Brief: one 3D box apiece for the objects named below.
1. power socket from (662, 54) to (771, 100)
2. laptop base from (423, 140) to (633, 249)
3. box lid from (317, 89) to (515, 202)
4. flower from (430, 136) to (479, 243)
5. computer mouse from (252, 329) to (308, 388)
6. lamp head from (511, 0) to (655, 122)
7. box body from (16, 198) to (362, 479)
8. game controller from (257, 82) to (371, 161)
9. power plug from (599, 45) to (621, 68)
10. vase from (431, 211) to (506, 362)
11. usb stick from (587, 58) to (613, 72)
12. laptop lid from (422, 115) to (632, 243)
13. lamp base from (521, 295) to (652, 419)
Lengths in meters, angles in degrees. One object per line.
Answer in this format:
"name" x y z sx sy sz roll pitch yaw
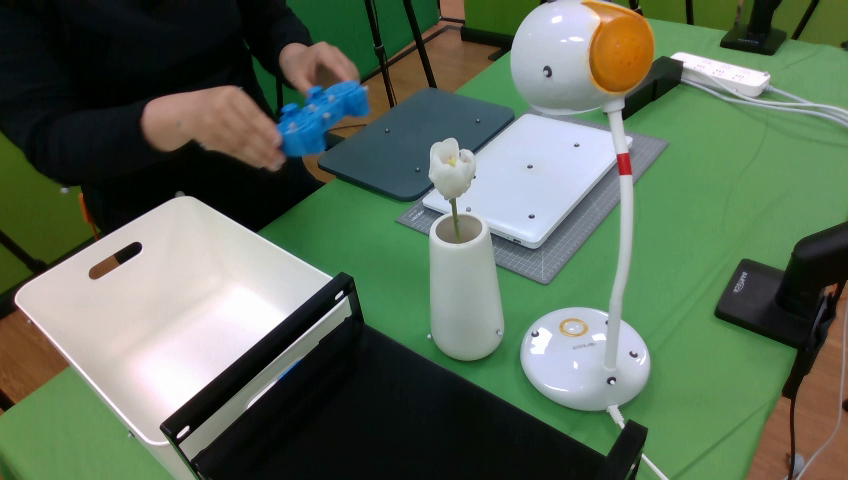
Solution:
"power socket" 0.615 -0.348 1.284 0.072 0.033 0.225 -36 48 -29
"laptop base" 0.194 -0.117 1.087 0.233 0.023 0.355 21 47 34
"box lid" -0.009 -0.207 1.236 0.261 0.015 0.372 23 49 32
"flower" 0.041 0.011 0.691 0.044 0.363 0.038 16 63 14
"computer mouse" -0.168 0.161 0.790 0.116 0.041 0.063 31 50 27
"lamp head" 0.155 -0.168 0.563 0.113 0.113 0.122 -18 23 -12
"box body" -0.285 0.123 0.766 0.361 0.161 0.255 25 49 33
"game controller" -0.138 -0.156 0.764 0.096 0.052 0.155 9 43 34
"power plug" 0.437 -0.422 1.412 0.053 0.035 0.072 -16 73 -47
"vase" 0.054 0.062 0.757 0.098 0.201 0.097 -3 40 3
"usb stick" 0.401 -0.399 1.380 0.059 0.027 0.021 1 48 20
"laptop lid" 0.190 -0.126 1.081 0.239 0.013 0.358 23 48 34
"lamp base" 0.201 0.095 0.710 0.161 0.181 0.177 -16 43 -10
